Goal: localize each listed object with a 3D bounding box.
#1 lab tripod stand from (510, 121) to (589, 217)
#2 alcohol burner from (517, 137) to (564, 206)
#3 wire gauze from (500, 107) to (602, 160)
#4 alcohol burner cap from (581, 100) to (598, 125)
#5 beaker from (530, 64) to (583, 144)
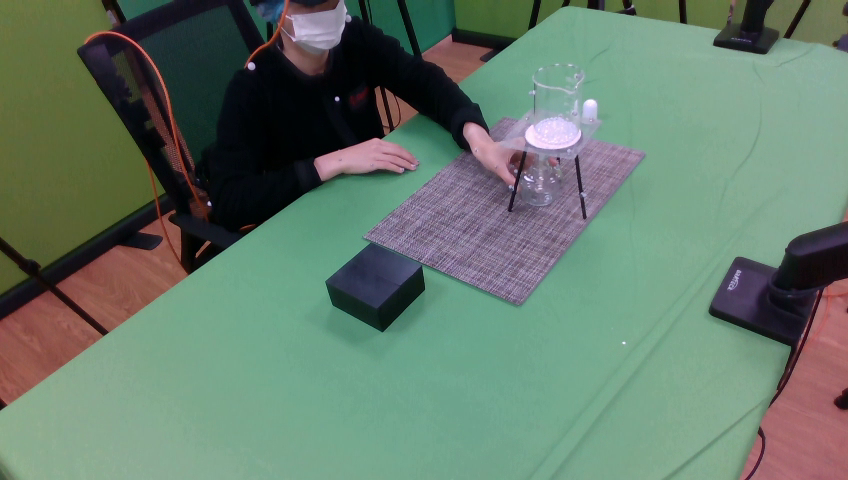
[{"bbox_3d":[0.208,-0.114,0.983,0.148,0.132,0.147,-5,42,5],"label":"lab tripod stand"},{"bbox_3d":[0.194,-0.116,1.001,0.078,0.119,0.077,-3,42,3],"label":"alcohol burner"},{"bbox_3d":[0.199,-0.166,0.945,0.120,0.011,0.125,17,50,28],"label":"wire gauze"},{"bbox_3d":[0.332,-0.258,1.210,0.034,0.048,0.033,-5,41,5],"label":"alcohol burner cap"},{"bbox_3d":[0.201,-0.201,0.909,0.074,0.101,0.083,-19,43,-10],"label":"beaker"}]
